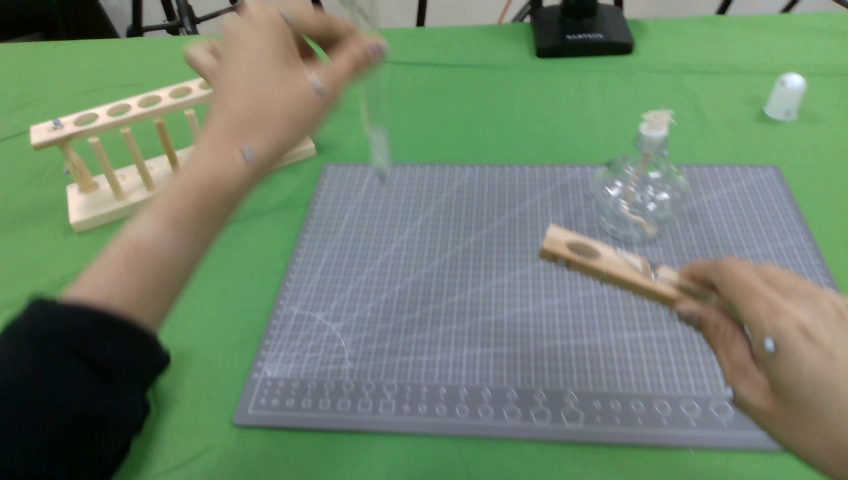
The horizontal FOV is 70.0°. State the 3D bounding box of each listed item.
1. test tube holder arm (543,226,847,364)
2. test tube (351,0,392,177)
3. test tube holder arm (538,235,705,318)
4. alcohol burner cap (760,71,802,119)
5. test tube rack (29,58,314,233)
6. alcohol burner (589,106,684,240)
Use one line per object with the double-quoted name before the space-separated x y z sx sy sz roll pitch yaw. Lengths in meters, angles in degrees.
"test tube holder arm" 0.147 0.030 0.313 0.178 0.015 0.013 21 66 10
"test tube" -0.032 -0.099 0.381 0.017 0.151 0.017 -1 48 1
"test tube holder arm" 0.103 0.019 0.319 0.087 0.015 0.010 21 66 10
"alcohol burner cap" 0.378 -0.154 0.637 0.034 0.048 0.033 -4 46 4
"test tube rack" -0.242 -0.098 0.604 0.243 0.086 0.066 -21 47 -16
"alcohol burner" 0.180 -0.058 0.504 0.078 0.120 0.077 -2 43 2
